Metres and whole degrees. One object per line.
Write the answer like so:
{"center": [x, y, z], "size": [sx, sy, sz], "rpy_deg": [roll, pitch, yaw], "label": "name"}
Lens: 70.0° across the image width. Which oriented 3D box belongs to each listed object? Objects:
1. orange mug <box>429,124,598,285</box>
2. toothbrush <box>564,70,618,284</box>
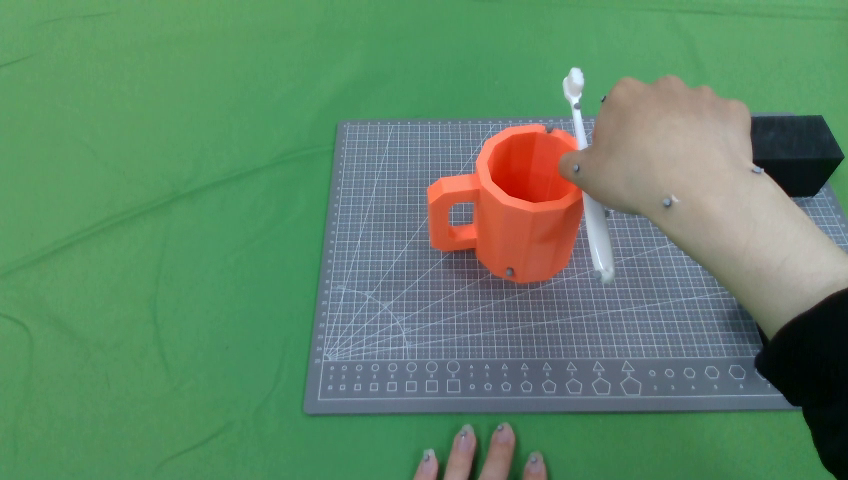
{"center": [0.066, -0.024, 0.473], "size": [0.126, 0.101, 0.082], "rpy_deg": [-5, 55, -7], "label": "orange mug"}
{"center": [0.115, -0.051, 0.420], "size": [0.014, 0.017, 0.180], "rpy_deg": [7, 58, -10], "label": "toothbrush"}
